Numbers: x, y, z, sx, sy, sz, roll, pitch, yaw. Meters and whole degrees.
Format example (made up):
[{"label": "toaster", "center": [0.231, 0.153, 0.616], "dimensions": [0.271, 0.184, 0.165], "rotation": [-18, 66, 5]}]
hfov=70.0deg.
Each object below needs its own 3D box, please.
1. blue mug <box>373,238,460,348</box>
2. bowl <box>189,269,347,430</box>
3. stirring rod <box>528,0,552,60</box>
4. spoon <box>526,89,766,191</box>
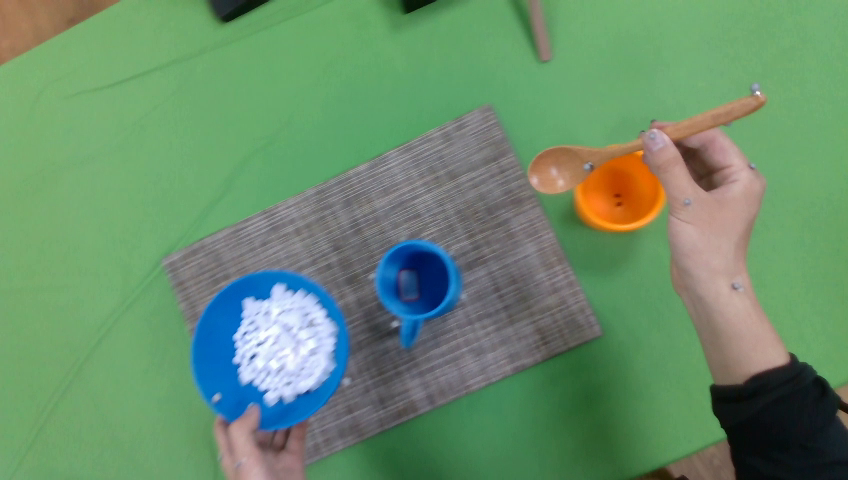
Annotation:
[{"label": "blue mug", "center": [-0.009, 0.060, 0.659], "dimensions": [0.082, 0.106, 0.116], "rotation": [13, 86, 8]}, {"label": "bowl", "center": [-0.143, 0.109, 0.602], "dimensions": [0.151, 0.077, 0.150], "rotation": [-1, 78, 6]}, {"label": "stirring rod", "center": [0.123, -0.297, 0.698], "dimensions": [0.014, 0.006, 0.177], "rotation": [-16, 105, -1]}, {"label": "spoon", "center": [0.159, -0.074, 0.465], "dimensions": [0.021, 0.193, 0.042], "rotation": [-38, 106, -38]}]
